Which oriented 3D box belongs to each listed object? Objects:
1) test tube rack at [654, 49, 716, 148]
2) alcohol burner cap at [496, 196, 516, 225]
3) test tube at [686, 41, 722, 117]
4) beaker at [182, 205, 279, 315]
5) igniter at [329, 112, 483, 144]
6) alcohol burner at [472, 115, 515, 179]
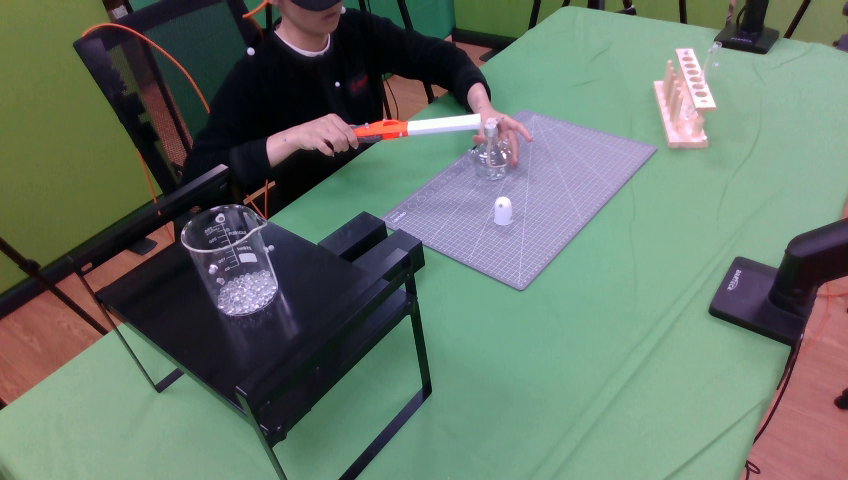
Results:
[{"bbox_3d":[0.502,-0.280,1.176,0.066,0.085,0.241,1,41,11],"label":"test tube rack"},{"bbox_3d":[0.134,-0.051,0.995,0.034,0.048,0.033,-5,42,5],"label":"alcohol burner cap"},{"bbox_3d":[0.510,-0.290,1.105,0.017,0.150,0.017,2,44,-1],"label":"test tube"},{"bbox_3d":[-0.197,0.024,0.641,0.084,0.101,0.073,-12,41,-6],"label":"beaker"},{"bbox_3d":[-0.035,-0.196,1.060,0.276,0.025,0.057,-4,42,10],"label":"igniter"},{"bbox_3d":[0.123,-0.169,1.079,0.078,0.119,0.077,-6,41,6],"label":"alcohol burner"}]
